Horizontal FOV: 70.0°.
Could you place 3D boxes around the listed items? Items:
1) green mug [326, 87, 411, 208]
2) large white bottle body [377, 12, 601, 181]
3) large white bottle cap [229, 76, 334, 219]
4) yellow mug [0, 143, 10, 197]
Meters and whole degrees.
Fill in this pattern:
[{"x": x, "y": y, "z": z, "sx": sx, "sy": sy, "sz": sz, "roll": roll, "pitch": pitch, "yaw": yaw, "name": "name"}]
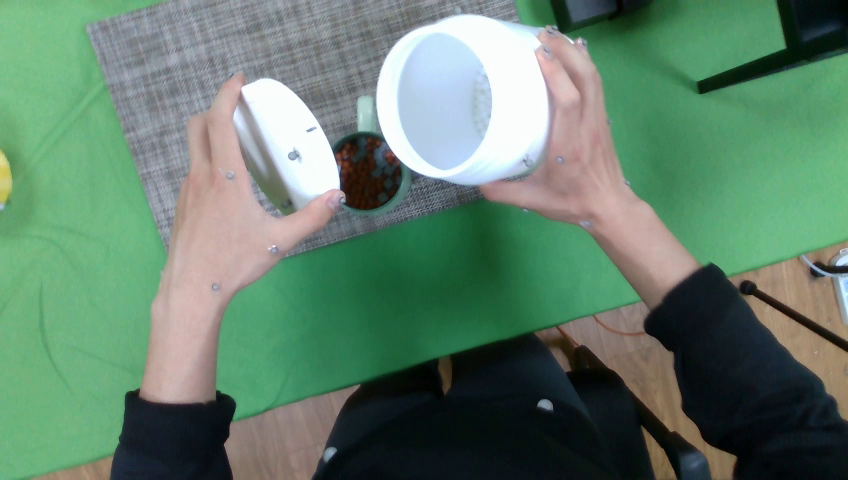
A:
[{"x": -0.059, "y": -0.094, "z": 0.625, "sx": 0.092, "sy": 0.104, "sz": 0.125, "roll": 0, "pitch": 96, "yaw": -3, "name": "green mug"}, {"x": 0.059, "y": -0.121, "z": 0.516, "sx": 0.129, "sy": 0.185, "sz": 0.131, "roll": 11, "pitch": 109, "yaw": 34, "name": "large white bottle body"}, {"x": -0.113, "y": -0.070, "z": 0.475, "sx": 0.018, "sy": 0.114, "sz": 0.115, "roll": -36, "pitch": 98, "yaw": -32, "name": "large white bottle cap"}, {"x": -0.503, "y": -0.060, "z": 0.626, "sx": 0.100, "sy": 0.064, "sz": 0.131, "roll": 16, "pitch": 96, "yaw": -6, "name": "yellow mug"}]
